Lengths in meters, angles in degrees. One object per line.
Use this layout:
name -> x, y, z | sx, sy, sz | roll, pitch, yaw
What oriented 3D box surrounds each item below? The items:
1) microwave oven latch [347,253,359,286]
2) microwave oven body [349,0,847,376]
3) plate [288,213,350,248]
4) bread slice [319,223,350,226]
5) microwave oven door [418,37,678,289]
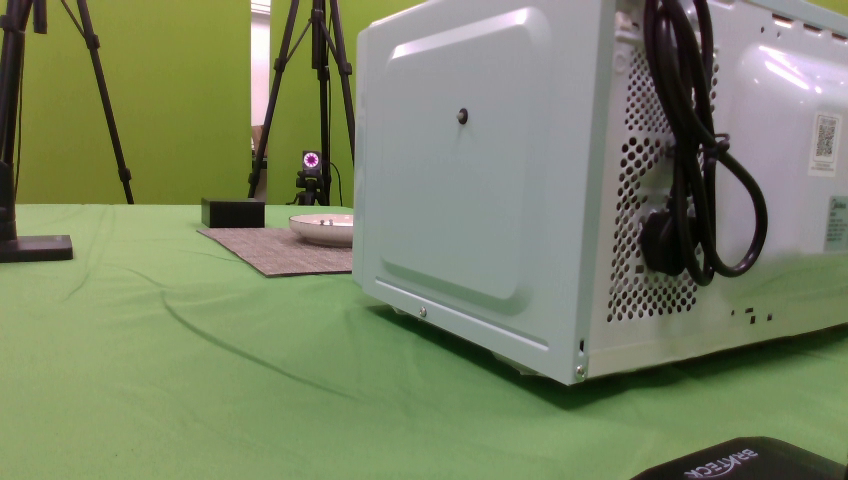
microwave oven latch -> -0.034, 0.028, 0.581 | 0.079, 0.029, 0.030 | -1, 7, -31
microwave oven body -> 0.199, -0.053, 0.539 | 0.444, 0.260, 0.324 | -1, 8, -32
plate -> -0.122, -0.017, 1.008 | 0.209, 0.038, 0.209 | 3, 8, 0
bread slice -> -0.122, -0.015, 1.004 | 0.131, 0.019, 0.105 | 4, 7, 12
microwave oven door -> 0.159, -0.079, 0.684 | 0.358, 0.243, 0.039 | -2, 9, -32
